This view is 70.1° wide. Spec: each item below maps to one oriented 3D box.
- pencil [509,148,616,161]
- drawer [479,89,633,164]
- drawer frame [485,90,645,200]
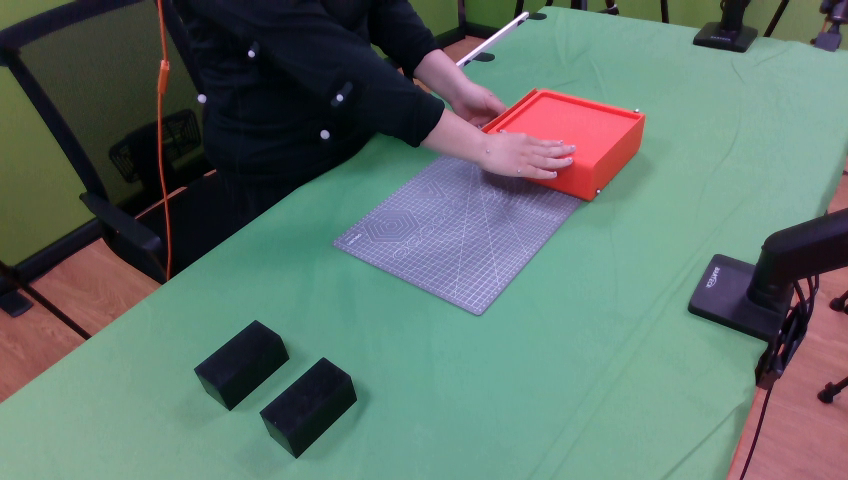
[{"bbox_3d":[0.252,-0.155,1.106,0.194,0.012,0.012,-4,40,7],"label":"pencil"},{"bbox_3d":[0.239,-0.185,1.104,0.210,0.073,0.195,26,49,31],"label":"drawer"},{"bbox_3d":[0.253,-0.179,1.094,0.212,0.083,0.202,24,48,31],"label":"drawer frame"}]
